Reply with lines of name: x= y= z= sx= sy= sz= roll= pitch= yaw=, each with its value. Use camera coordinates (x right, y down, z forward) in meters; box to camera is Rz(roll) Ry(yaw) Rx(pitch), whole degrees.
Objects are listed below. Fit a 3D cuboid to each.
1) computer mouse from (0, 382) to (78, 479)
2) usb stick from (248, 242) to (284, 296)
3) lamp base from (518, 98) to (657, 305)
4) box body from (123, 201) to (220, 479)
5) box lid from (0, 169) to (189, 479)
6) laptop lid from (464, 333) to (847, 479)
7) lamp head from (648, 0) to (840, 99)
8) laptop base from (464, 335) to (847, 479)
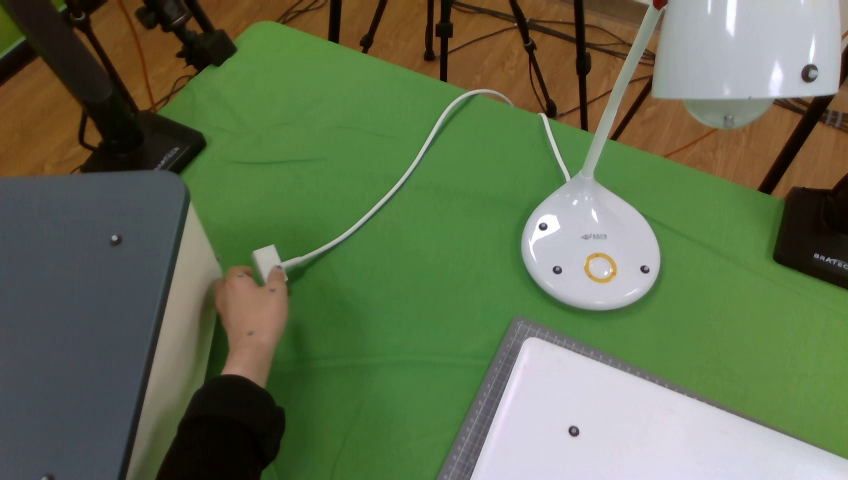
computer mouse: x=-0.380 y=0.176 z=0.580 sx=0.063 sy=0.041 sz=0.116 roll=-28 pitch=21 yaw=-6
usb stick: x=-0.178 y=0.034 z=0.687 sx=0.027 sy=0.021 sz=0.059 roll=-17 pitch=89 yaw=-28
lamp base: x=0.187 y=-0.047 z=0.652 sx=0.161 sy=0.182 sz=0.177 roll=-11 pitch=55 yaw=-7
box body: x=-0.350 y=0.130 z=0.550 sx=0.254 sy=0.162 sz=0.360 roll=-1 pitch=57 yaw=-1
box lid: x=-0.350 y=0.088 z=0.489 sx=0.263 sy=0.015 sz=0.368 roll=-1 pitch=58 yaw=-1
laptop lid: x=0.216 y=0.245 z=0.545 sx=0.355 sy=0.013 sz=0.240 roll=22 pitch=62 yaw=14
lamp head: x=0.202 y=-0.152 z=0.387 sx=0.112 sy=0.112 sz=0.123 roll=-4 pitch=101 yaw=-2
laptop base: x=0.217 y=0.250 z=0.556 sx=0.353 sy=0.023 sz=0.234 roll=20 pitch=63 yaw=13
